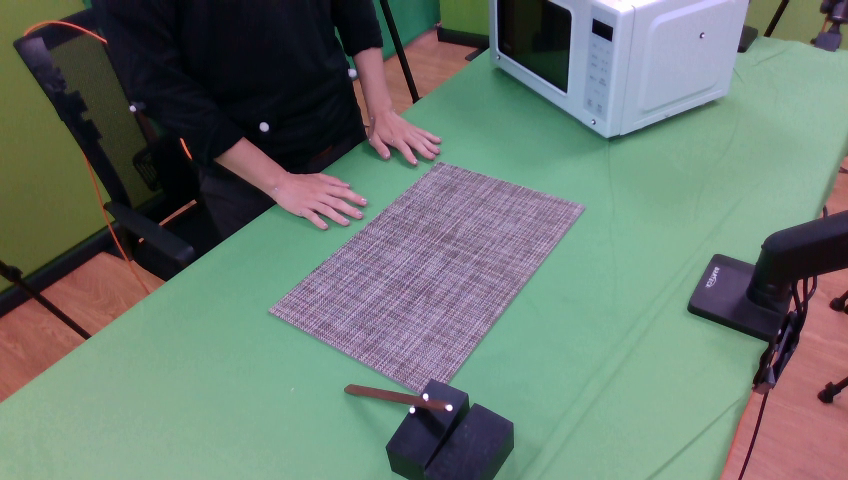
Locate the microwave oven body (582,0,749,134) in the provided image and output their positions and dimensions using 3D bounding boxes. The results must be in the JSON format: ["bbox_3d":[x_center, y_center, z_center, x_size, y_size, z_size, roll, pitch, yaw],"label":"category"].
[{"bbox_3d":[0.382,-0.444,1.246,0.327,0.261,0.437,-22,42,-16],"label":"microwave oven body"}]

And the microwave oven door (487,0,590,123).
[{"bbox_3d":[0.232,-0.420,1.231,0.039,0.245,0.352,-22,43,-16],"label":"microwave oven door"}]

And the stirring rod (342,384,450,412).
[{"bbox_3d":[-0.038,0.186,0.714,0.175,0.006,0.014,-3,22,43],"label":"stirring rod"}]

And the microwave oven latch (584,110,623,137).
[{"bbox_3d":[0.337,-0.222,1.142,0.030,0.029,0.078,-21,42,-14],"label":"microwave oven latch"}]
